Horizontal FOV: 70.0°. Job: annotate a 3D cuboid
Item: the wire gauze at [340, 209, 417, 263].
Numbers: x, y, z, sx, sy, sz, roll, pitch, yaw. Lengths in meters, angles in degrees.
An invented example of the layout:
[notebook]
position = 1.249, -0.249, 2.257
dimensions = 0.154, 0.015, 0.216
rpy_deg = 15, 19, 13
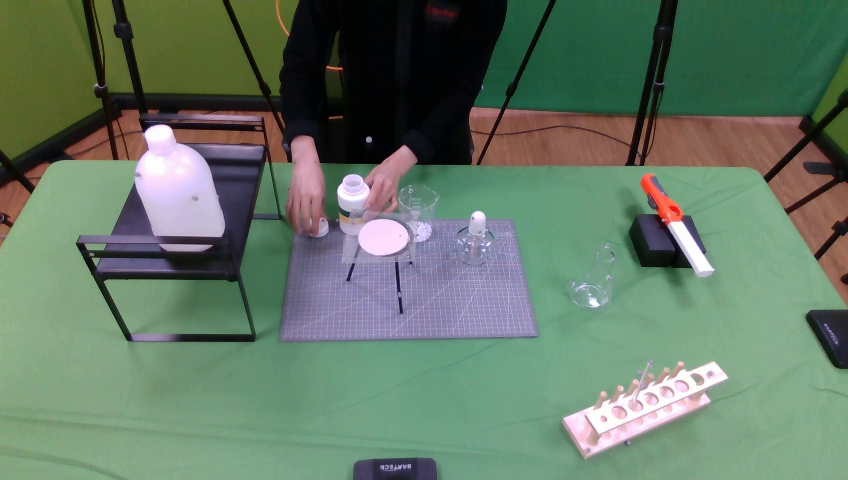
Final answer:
[wire gauze]
position = -0.074, -0.006, 1.023
dimensions = 0.121, 0.011, 0.124
rpy_deg = 3, 46, 0

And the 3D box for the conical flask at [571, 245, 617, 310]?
[conical flask]
position = 0.313, 0.064, 1.089
dimensions = 0.075, 0.122, 0.075
rpy_deg = 2, 46, -2

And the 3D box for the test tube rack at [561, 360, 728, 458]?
[test tube rack]
position = 0.341, 0.248, 0.940
dimensions = 0.243, 0.085, 0.066
rpy_deg = -15, 48, -18

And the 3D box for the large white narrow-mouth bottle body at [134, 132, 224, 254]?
[large white narrow-mouth bottle body]
position = -0.358, -0.075, 0.875
dimensions = 0.102, 0.195, 0.101
rpy_deg = 1, 48, -1

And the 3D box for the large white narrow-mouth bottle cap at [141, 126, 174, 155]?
[large white narrow-mouth bottle cap]
position = -0.356, -0.133, 0.810
dimensions = 0.038, 0.024, 0.037
rpy_deg = 2, 48, -1

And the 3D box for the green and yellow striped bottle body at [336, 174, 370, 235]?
[green and yellow striped bottle body]
position = -0.138, -0.071, 1.184
dimensions = 0.063, 0.120, 0.063
rpy_deg = 2, 46, -2

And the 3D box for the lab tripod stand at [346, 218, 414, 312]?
[lab tripod stand]
position = -0.070, 0.037, 1.075
dimensions = 0.148, 0.132, 0.147
rpy_deg = 1, 47, -1

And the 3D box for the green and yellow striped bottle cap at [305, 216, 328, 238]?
[green and yellow striped bottle cap]
position = -0.214, -0.026, 1.202
dimensions = 0.045, 0.020, 0.045
rpy_deg = 5, 45, -4

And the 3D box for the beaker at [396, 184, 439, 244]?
[beaker]
position = -0.014, -0.049, 1.186
dimensions = 0.084, 0.101, 0.073
rpy_deg = -8, 48, -12

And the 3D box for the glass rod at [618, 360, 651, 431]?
[glass rod]
position = 0.298, 0.227, 0.865
dimensions = 0.008, 0.201, 0.008
rpy_deg = -2, 48, 2

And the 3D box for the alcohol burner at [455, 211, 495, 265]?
[alcohol burner]
position = 0.097, -0.010, 1.147
dimensions = 0.078, 0.120, 0.077
rpy_deg = 1, 47, -1

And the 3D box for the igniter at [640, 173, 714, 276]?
[igniter]
position = 0.495, -0.039, 1.204
dimensions = 0.057, 0.025, 0.274
rpy_deg = -2, 47, -12

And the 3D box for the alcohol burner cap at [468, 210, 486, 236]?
[alcohol burner cap]
position = 0.100, -0.034, 1.119
dimensions = 0.034, 0.048, 0.033
rpy_deg = 0, 53, 0
